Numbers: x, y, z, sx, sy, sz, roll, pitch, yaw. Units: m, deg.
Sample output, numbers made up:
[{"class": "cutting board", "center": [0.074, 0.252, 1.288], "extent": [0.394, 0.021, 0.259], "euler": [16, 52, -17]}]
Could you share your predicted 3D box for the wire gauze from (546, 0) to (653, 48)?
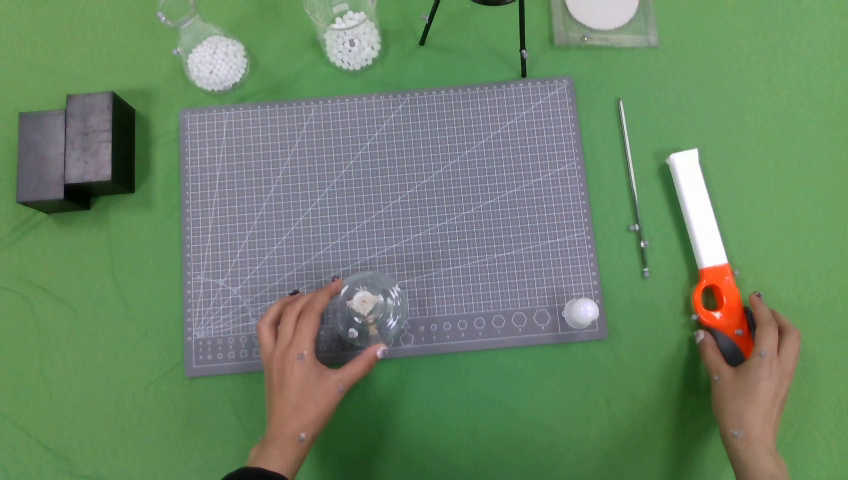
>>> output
[{"class": "wire gauze", "center": [0.205, -0.284, 0.712], "extent": [0.125, 0.011, 0.121], "euler": [0, 81, -1]}]

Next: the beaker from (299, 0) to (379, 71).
[{"class": "beaker", "center": [-0.085, -0.238, 0.660], "extent": [0.084, 0.100, 0.073], "euler": [-32, 81, -6]}]

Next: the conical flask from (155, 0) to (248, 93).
[{"class": "conical flask", "center": [-0.241, -0.214, 0.645], "extent": [0.075, 0.122, 0.075], "euler": [0, 79, 1]}]

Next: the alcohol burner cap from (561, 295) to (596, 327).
[{"class": "alcohol burner cap", "center": [0.163, 0.072, 0.630], "extent": [0.034, 0.048, 0.033], "euler": [0, 79, 0]}]

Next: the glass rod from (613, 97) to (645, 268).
[{"class": "glass rod", "center": [0.228, -0.066, 0.674], "extent": [0.008, 0.008, 0.199], "euler": [-6, 80, -1]}]

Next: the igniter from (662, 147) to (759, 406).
[{"class": "igniter", "center": [0.305, 0.036, 0.647], "extent": [0.057, 0.025, 0.275], "euler": [-11, 82, 0]}]

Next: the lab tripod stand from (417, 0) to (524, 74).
[{"class": "lab tripod stand", "center": [0.063, -0.255, 0.644], "extent": [0.148, 0.132, 0.148], "euler": [0, 82, 1]}]

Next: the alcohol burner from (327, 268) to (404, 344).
[{"class": "alcohol burner", "center": [-0.059, 0.063, 0.598], "extent": [0.078, 0.119, 0.077], "euler": [0, 78, 0]}]
